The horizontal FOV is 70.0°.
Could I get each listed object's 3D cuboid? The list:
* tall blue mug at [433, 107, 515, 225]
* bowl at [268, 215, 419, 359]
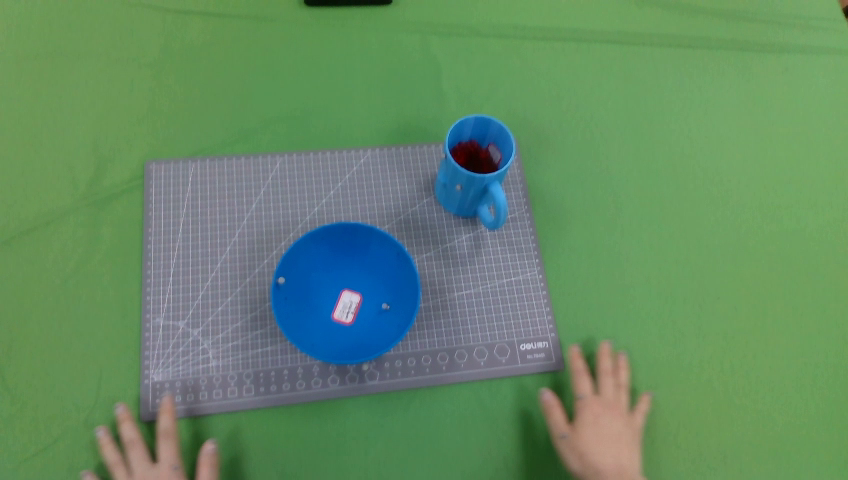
[{"bbox_3d":[0.065,-0.079,0.688,0.107,0.108,0.077,39,70,8],"label":"tall blue mug"},{"bbox_3d":[-0.083,0.057,0.641,0.151,0.077,0.150,2,70,-6],"label":"bowl"}]
